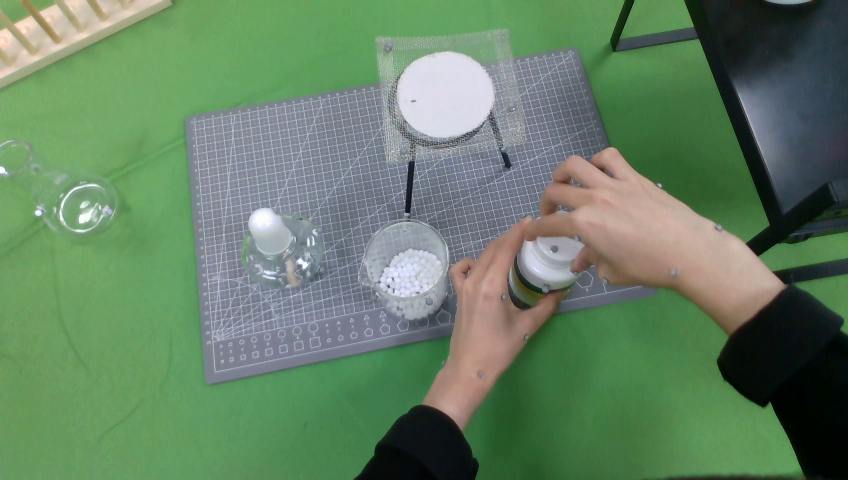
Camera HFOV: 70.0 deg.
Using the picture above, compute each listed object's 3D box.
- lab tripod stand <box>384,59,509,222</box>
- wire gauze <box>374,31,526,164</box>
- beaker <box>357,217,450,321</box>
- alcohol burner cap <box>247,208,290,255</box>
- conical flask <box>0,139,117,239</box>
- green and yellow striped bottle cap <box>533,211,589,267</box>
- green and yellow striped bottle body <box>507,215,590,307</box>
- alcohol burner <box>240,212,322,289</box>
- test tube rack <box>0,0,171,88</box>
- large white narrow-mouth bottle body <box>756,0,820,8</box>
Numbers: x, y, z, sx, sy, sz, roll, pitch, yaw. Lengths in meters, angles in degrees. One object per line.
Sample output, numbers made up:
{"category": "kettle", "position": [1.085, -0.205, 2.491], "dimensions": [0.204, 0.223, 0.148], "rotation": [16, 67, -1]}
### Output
{"category": "lab tripod stand", "position": [0.016, -0.101, 0.590], "dimensions": [0.148, 0.132, 0.147], "rotation": [0, 69, 0]}
{"category": "wire gauze", "position": [0.021, -0.129, 0.528], "dimensions": [0.121, 0.011, 0.124], "rotation": [-5, 71, -2]}
{"category": "beaker", "position": [-0.017, 0.034, 0.563], "dimensions": [0.084, 0.101, 0.073], "rotation": [-23, 71, -5]}
{"category": "alcohol burner cap", "position": [-0.139, -0.010, 0.534], "dimensions": [0.034, 0.048, 0.033], "rotation": [0, 63, 0]}
{"category": "conical flask", "position": [-0.364, -0.054, 0.591], "dimensions": [0.075, 0.122, 0.075], "rotation": [0, 70, 2]}
{"category": "green and yellow striped bottle cap", "position": [0.114, -0.001, 0.501], "dimensions": [0.045, 0.020, 0.045], "rotation": [0, 73, 2]}
{"category": "green and yellow striped bottle body", "position": [0.113, 0.018, 0.554], "dimensions": [0.063, 0.120, 0.063], "rotation": [0, 71, 2]}
{"category": "alcohol burner", "position": [-0.138, 0.004, 0.568], "dimensions": [0.078, 0.120, 0.077], "rotation": [0, 69, 0]}
{"category": "test tube rack", "position": [-0.426, -0.263, 0.684], "dimensions": [0.242, 0.086, 0.066], "rotation": [-30, 73, -9]}
{"category": "large white narrow-mouth bottle body", "position": [0.297, -0.266, 0.423], "dimensions": [0.102, 0.196, 0.101], "rotation": [0, 69, 1]}
